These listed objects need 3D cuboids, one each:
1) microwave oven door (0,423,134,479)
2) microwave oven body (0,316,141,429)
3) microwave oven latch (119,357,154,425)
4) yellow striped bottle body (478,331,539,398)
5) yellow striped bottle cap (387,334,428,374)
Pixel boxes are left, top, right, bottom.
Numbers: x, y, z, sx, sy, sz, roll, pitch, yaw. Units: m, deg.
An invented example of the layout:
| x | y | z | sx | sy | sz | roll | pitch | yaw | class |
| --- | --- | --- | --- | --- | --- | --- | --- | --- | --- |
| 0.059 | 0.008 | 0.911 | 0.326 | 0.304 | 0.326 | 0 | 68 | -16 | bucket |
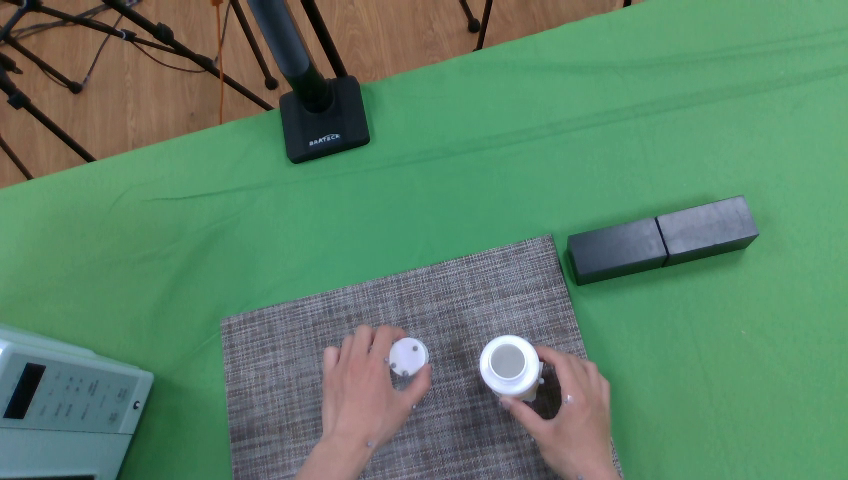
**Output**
| x | y | z | sx | sy | sz | roll | pitch | yaw | class |
| --- | --- | --- | --- | --- | --- | --- | --- | --- | --- |
| -0.450 | 0.360 | 0.612 | 0.039 | 0.245 | 0.354 | 12 | 74 | 15 | microwave oven door |
| -0.576 | 0.294 | 0.664 | 0.325 | 0.262 | 0.440 | 12 | 75 | 14 | microwave oven body |
| -0.370 | 0.191 | 0.763 | 0.030 | 0.030 | 0.079 | 14 | 76 | 14 | microwave oven latch |
| 0.094 | 0.137 | 0.664 | 0.062 | 0.121 | 0.062 | -3 | 71 | 10 | yellow striped bottle body |
| -0.019 | 0.129 | 0.685 | 0.044 | 0.019 | 0.044 | -3 | 78 | 16 | yellow striped bottle cap |
